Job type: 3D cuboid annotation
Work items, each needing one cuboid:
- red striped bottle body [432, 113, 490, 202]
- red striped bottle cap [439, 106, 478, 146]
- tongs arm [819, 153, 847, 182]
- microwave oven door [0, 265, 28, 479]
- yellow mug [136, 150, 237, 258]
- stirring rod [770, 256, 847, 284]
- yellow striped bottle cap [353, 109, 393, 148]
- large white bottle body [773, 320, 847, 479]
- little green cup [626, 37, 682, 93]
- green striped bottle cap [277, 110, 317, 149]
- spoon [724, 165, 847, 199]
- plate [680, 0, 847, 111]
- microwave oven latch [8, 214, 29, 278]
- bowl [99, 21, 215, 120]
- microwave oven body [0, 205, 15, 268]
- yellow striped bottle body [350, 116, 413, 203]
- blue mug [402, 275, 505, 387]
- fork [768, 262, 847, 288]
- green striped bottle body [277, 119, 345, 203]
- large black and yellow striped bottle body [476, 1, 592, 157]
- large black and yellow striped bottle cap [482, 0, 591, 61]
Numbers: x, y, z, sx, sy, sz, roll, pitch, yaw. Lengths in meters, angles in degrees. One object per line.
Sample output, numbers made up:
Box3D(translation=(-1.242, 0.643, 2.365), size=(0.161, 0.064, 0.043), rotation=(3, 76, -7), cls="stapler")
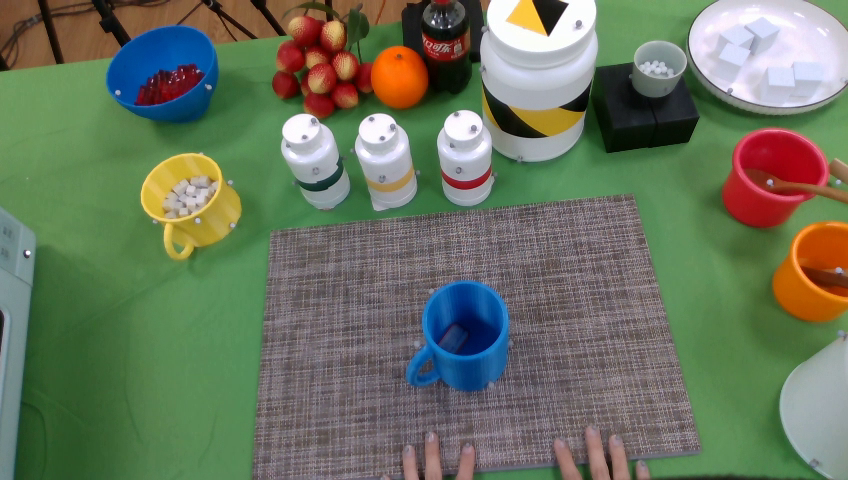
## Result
Box3D(translation=(0.044, -0.101, 0.713), size=(0.063, 0.121, 0.062), rotation=(-4, 60, 7), cls="red striped bottle body")
Box3D(translation=(0.038, -0.126, 0.668), size=(0.044, 0.018, 0.044), rotation=(-1, 60, 1), cls="red striped bottle cap")
Box3D(translation=(0.612, 0.012, 0.642), size=(0.051, 0.027, 0.381), rotation=(-38, 65, -17), cls="tongs arm")
Box3D(translation=(-0.465, 0.148, 0.544), size=(0.039, 0.246, 0.352), rotation=(-14, 61, -1), cls="microwave oven door")
Box3D(translation=(-0.295, -0.040, 0.747), size=(0.100, 0.064, 0.130), rotation=(3, 63, 7), cls="yellow mug")
Box3D(translation=(0.418, 0.039, 0.590), size=(0.014, 0.006, 0.174), rotation=(-29, 21, -15), cls="stirring rod")
Box3D(translation=(-0.057, -0.125, 0.677), size=(0.044, 0.019, 0.044), rotation=(0, 59, 1), cls="yellow striped bottle cap")
Box3D(translation=(0.401, 0.129, 0.517), size=(0.130, 0.186, 0.129), rotation=(-2, 62, 5), cls="large white bottle body")
Box3D(translation=(0.277, -0.210, 0.736), size=(0.061, 0.039, 0.061), rotation=(-1, 60, 3), cls="little green cup")
Box3D(translation=(-0.144, -0.126, 0.686), size=(0.044, 0.020, 0.044), rotation=(-1, 62, 3), cls="green striped bottle cap")
Box3D(translation=(0.396, -0.058, 0.641), size=(0.041, 0.192, 0.022), rotation=(-22, 107, -9), cls="spoon")
Box3D(translation=(0.442, -0.249, 0.797), size=(0.209, 0.038, 0.207), rotation=(-2, 62, 5), cls="plate")
Box3D(translation=(-0.503, 0.010, 0.737), size=(0.030, 0.030, 0.078), rotation=(-13, 62, -2), cls="microwave oven latch")
Box3D(translation=(-0.355, -0.221, 0.842), size=(0.151, 0.077, 0.150), rotation=(-2, 62, 4), cls="bowl")
Box3D(translation=(-0.616, 0.150, 0.565), size=(0.326, 0.262, 0.437), rotation=(-14, 62, -2), cls="microwave oven body")
Box3D(translation=(-0.051, -0.101, 0.723), size=(0.063, 0.121, 0.062), rotation=(-3, 61, 5), cls="yellow striped bottle body")
Box3D(translation=(0.027, 0.104, 0.611), size=(0.116, 0.107, 0.081), rotation=(-34, 63, -12), cls="blue mug")
Box3D(translation=(0.447, 0.022, 0.590), size=(0.206, 0.019, 0.028), rotation=(-19, 46, 48), cls="fork")
Box3D(translation=(-0.137, -0.101, 0.732), size=(0.063, 0.120, 0.062), rotation=(-2, 62, 5), cls="green striped bottle body")
Box3D(translation=(0.127, -0.201, 0.721), size=(0.130, 0.185, 0.129), rotation=(-3, 62, 5), cls="large black and yellow striped bottle body")
Box3D(translation=(0.119, -0.241, 0.645), size=(0.115, 0.019, 0.114), rotation=(-4, 63, 7), cls="large black and yellow striped bottle cap")
